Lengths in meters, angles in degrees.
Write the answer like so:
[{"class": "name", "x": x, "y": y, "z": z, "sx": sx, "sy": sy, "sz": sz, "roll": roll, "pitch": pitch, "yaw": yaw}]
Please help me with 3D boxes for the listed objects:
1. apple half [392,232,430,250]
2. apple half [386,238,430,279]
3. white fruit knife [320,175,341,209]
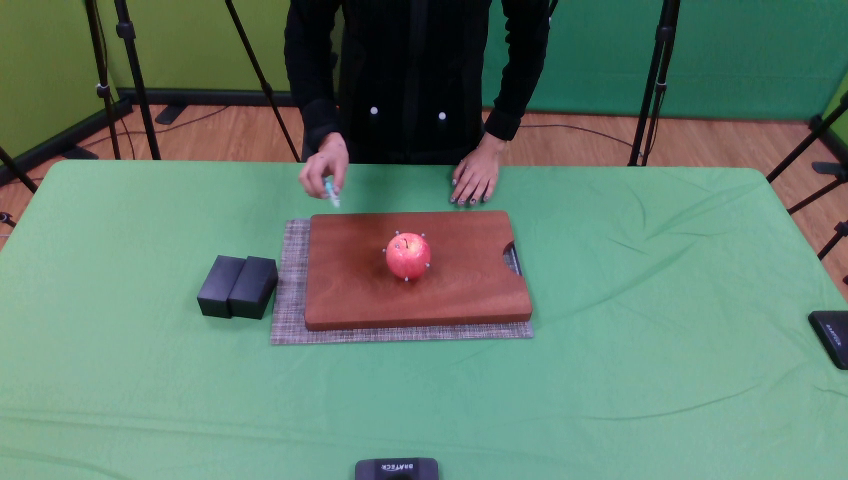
[{"class": "apple half", "x": -0.025, "y": 0.010, "z": 1.110, "sx": 0.081, "sy": 0.081, "sz": 0.032, "roll": 8, "pitch": 51, "yaw": 4}, {"class": "apple half", "x": -0.032, "y": 0.039, "z": 1.084, "sx": 0.081, "sy": 0.075, "sz": 0.053, "roll": 11, "pitch": 50, "yaw": 1}, {"class": "white fruit knife", "x": -0.157, "y": -0.082, "z": 1.021, "sx": 0.016, "sy": 0.027, "sz": 0.206, "roll": -12, "pitch": 20, "yaw": -13}]
